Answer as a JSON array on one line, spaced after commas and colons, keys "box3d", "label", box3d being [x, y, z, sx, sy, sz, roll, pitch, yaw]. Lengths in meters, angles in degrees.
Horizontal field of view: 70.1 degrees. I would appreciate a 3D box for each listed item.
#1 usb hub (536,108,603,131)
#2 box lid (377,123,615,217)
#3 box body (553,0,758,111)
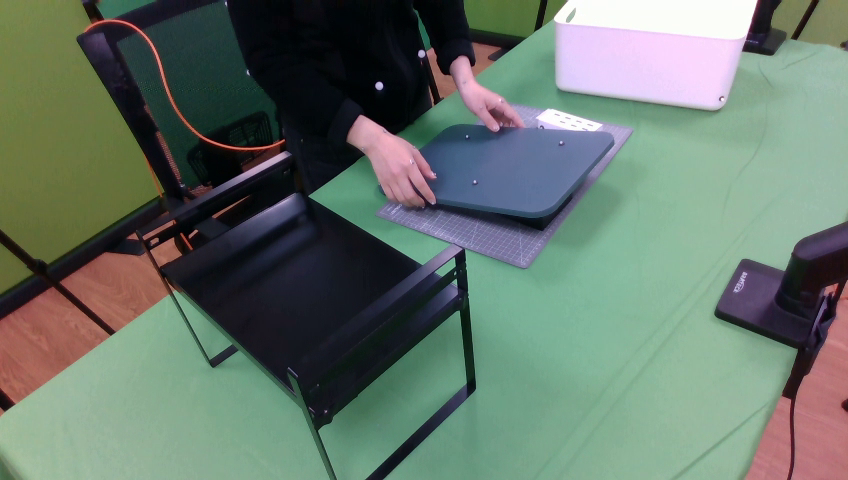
[{"box3d": [0.284, -0.224, 1.188, 0.124, 0.025, 0.049, 28, 52, 35], "label": "usb hub"}, {"box3d": [0.118, -0.136, 1.071, 0.368, 0.015, 0.264, 13, 42, 38], "label": "box lid"}, {"box3d": [0.480, -0.416, 1.281, 0.362, 0.161, 0.254, 15, 46, 24], "label": "box body"}]
